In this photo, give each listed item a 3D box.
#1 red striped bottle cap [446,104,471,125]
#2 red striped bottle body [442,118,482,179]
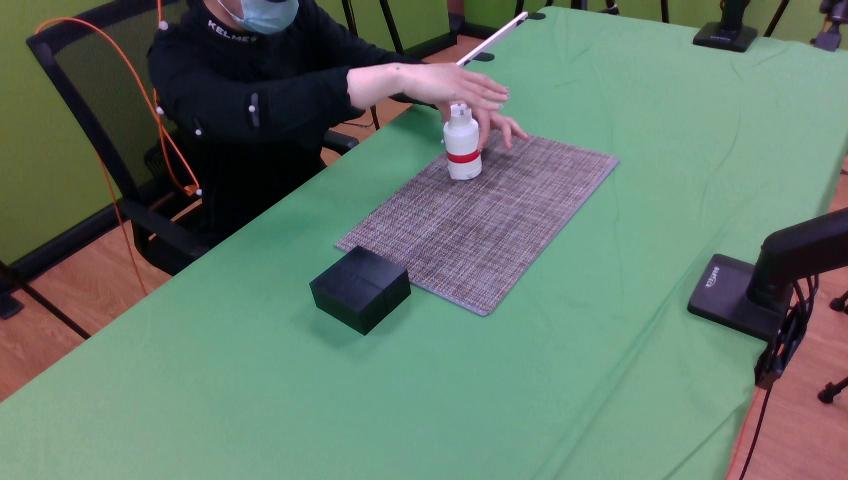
[{"bbox_3d":[0.059,-0.216,1.038,0.044,0.018,0.044,-1,43,2],"label":"red striped bottle cap"},{"bbox_3d":[0.068,-0.173,1.077,0.063,0.120,0.062,-6,42,6],"label":"red striped bottle body"}]
